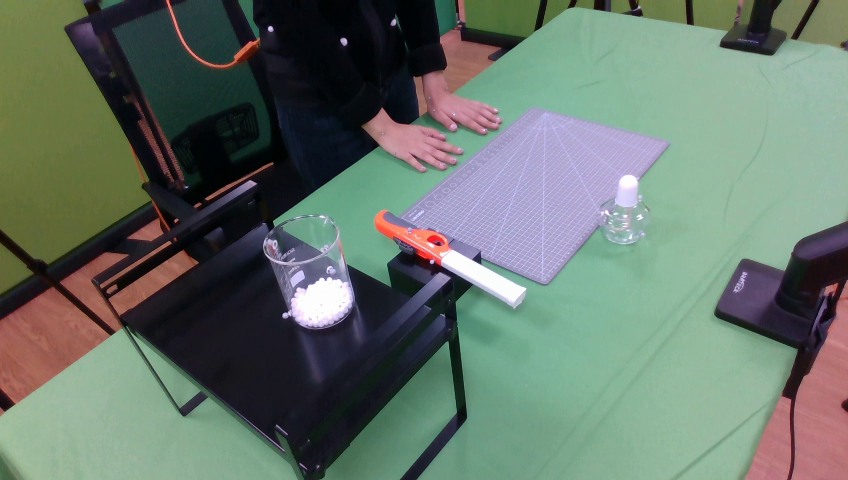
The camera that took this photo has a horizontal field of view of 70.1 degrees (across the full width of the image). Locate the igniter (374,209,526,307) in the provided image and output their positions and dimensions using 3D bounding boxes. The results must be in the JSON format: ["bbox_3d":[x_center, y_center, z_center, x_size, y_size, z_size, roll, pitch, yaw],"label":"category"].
[{"bbox_3d":[0.026,0.019,0.873,0.274,0.025,0.057,29,52,31],"label":"igniter"}]

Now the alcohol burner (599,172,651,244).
[{"bbox_3d":[0.307,-0.052,0.920,0.078,0.119,0.077,-6,41,6],"label":"alcohol burner"}]

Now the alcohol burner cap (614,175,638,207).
[{"bbox_3d":[0.303,-0.076,0.901,0.034,0.048,0.033,-5,43,5],"label":"alcohol burner cap"}]

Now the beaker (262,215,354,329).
[{"bbox_3d":[-0.112,0.034,0.616,0.073,0.101,0.084,13,44,23],"label":"beaker"}]
